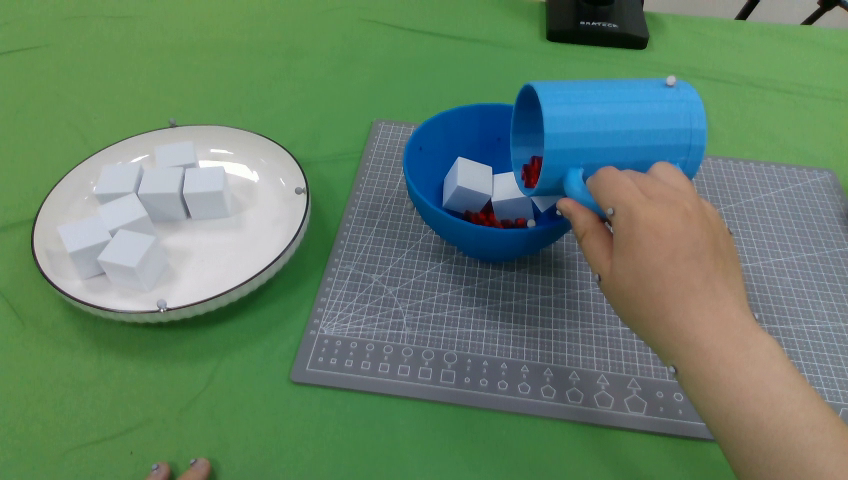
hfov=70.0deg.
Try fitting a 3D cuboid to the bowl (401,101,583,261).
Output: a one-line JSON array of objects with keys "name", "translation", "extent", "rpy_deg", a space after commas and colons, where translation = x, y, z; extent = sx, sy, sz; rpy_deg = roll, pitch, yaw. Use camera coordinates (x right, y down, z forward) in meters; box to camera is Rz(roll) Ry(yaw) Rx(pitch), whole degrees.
[{"name": "bowl", "translation": [0.056, -0.036, 0.487], "extent": [0.151, 0.077, 0.150], "rpy_deg": [2, 48, -1]}]

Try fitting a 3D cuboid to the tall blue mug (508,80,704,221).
[{"name": "tall blue mug", "translation": [0.122, -0.064, 0.400], "extent": [0.108, 0.078, 0.106], "rpy_deg": [-3, 21, -9]}]

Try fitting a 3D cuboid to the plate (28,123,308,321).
[{"name": "plate", "translation": [-0.197, -0.017, 0.489], "extent": [0.209, 0.038, 0.207], "rpy_deg": [2, 48, -2]}]
